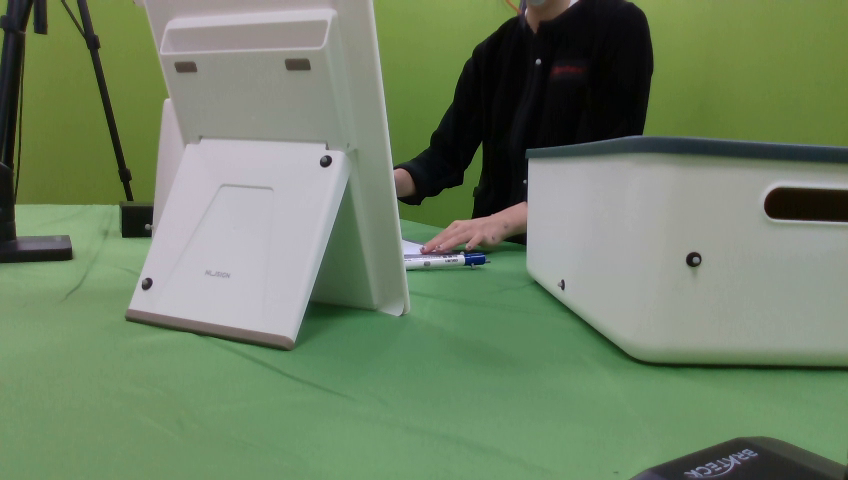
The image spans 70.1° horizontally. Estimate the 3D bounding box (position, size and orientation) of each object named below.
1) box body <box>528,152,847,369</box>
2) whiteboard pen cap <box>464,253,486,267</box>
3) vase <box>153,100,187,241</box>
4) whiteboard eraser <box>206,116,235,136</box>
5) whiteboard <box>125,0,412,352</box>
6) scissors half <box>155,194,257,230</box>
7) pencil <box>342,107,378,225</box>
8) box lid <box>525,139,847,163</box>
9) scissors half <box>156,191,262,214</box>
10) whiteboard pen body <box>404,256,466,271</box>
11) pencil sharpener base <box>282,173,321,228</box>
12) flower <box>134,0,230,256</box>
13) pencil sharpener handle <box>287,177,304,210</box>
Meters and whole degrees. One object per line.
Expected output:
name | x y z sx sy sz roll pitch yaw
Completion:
box body | 0.258 -0.005 0.591 0.254 0.160 0.363 2 7 -4
whiteboard pen cap | 0.066 0.027 0.818 0.033 0.018 0.018 -5 10 -24
vase | -0.278 -0.066 0.736 0.098 0.200 0.098 2 9 0
whiteboard eraser | -0.450 -0.252 1.335 0.056 0.042 0.112 1 7 -22
whiteboard | -0.151 -0.049 0.472 0.216 0.305 0.144 6 27 24
scissors half | -0.378 -0.051 1.058 0.176 0.040 0.012 20 22 -31
pencil | -0.104 -0.117 0.962 0.012 0.194 0.012 16 7 -2
box lid | 0.261 -0.078 0.580 0.264 0.015 0.371 2 7 -4
scissors half | -0.371 -0.069 1.051 0.176 0.040 0.013 2 25 -24
whiteboard pen body | 0.013 0.030 0.792 0.141 0.017 0.017 -3 9 -24
pencil sharpener base | -0.247 -0.080 1.212 0.061 0.107 0.076 -2 5 -28
flower | -0.282 -0.147 0.713 0.038 0.362 0.044 -23 24 -31
pencil sharpener handle | -0.269 -0.096 1.257 0.036 0.067 0.030 -8 8 -27
